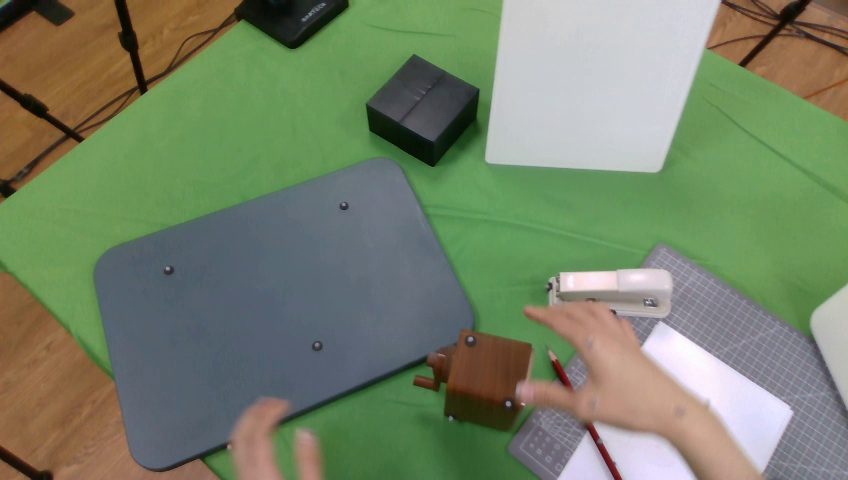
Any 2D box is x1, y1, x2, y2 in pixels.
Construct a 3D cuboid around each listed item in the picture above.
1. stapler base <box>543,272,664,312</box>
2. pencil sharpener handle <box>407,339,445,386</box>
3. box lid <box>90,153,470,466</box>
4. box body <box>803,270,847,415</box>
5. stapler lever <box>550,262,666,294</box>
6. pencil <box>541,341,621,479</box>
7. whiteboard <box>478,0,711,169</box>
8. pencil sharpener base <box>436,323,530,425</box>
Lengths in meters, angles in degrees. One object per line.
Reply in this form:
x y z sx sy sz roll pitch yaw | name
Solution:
0.197 0.052 0.661 0.130 0.024 0.041 2 58 4 | stapler base
0.001 0.115 0.567 0.030 0.068 0.035 13 49 7 | pencil sharpener handle
-0.162 0.056 0.664 0.372 0.015 0.261 -21 65 -12 | box lid
0.548 0.168 0.528 0.254 0.161 0.360 -9 63 -6 | box body
0.194 0.040 0.639 0.118 0.040 0.026 3 58 4 | stapler lever
0.162 0.184 0.600 0.012 0.012 0.192 -21 63 -11 | pencil
0.184 -0.252 0.696 0.217 0.308 0.142 4 43 2 | whiteboard
0.052 0.129 0.575 0.076 0.108 0.061 13 63 7 | pencil sharpener base
